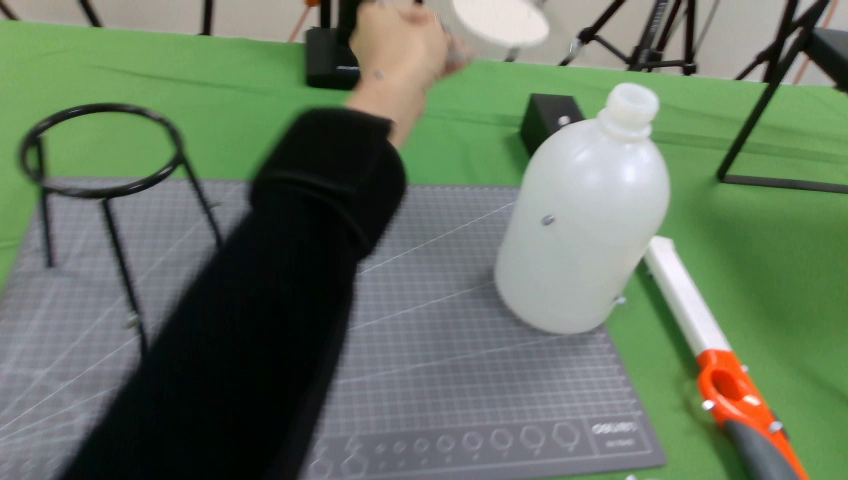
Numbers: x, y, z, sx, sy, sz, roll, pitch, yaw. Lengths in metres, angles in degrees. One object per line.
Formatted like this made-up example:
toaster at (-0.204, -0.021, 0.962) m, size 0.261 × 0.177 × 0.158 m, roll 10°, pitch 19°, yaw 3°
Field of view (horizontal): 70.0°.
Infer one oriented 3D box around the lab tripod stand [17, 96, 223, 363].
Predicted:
lab tripod stand at (-0.197, -0.013, 0.402) m, size 0.149 × 0.132 × 0.147 m, roll 8°, pitch 45°, yaw -8°

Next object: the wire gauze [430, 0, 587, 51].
wire gauze at (0.057, -0.191, 0.482) m, size 0.122 × 0.011 × 0.124 m, roll -2°, pitch 55°, yaw -23°

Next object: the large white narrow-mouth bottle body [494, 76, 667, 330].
large white narrow-mouth bottle body at (0.119, -0.027, 0.446) m, size 0.102 × 0.196 × 0.101 m, roll 6°, pitch 44°, yaw -5°

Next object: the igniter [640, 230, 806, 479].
igniter at (0.227, 0.094, 0.473) m, size 0.057 × 0.025 × 0.273 m, roll 10°, pitch 43°, yaw -19°

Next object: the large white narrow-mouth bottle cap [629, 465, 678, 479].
large white narrow-mouth bottle cap at (0.146, 0.166, 0.388) m, size 0.038 × 0.024 × 0.037 m, roll 6°, pitch 45°, yaw -6°
